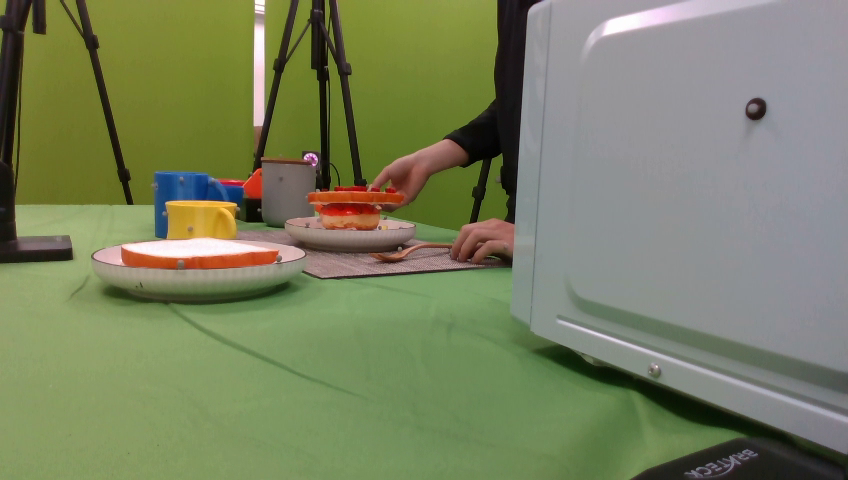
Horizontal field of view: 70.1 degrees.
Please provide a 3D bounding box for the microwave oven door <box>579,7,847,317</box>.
[{"bbox_3d":[0.295,-0.067,0.570,0.358,0.243,0.039,-3,9,-31],"label":"microwave oven door"}]

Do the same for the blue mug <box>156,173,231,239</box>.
[{"bbox_3d":[-0.381,-0.057,1.004,0.117,0.106,0.082,0,8,-12],"label":"blue mug"}]

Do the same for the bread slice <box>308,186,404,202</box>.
[{"bbox_3d":[-0.114,-0.071,0.952,0.134,0.018,0.107,-1,1,21],"label":"bread slice"}]

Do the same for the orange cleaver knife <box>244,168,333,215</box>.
[{"bbox_3d":[-0.300,-0.089,1.351,0.212,0.077,0.012,28,-9,-34],"label":"orange cleaver knife"}]

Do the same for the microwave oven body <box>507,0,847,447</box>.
[{"bbox_3d":[0.331,-0.042,0.425,0.444,0.260,0.324,-2,8,-31],"label":"microwave oven body"}]

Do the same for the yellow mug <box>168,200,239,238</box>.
[{"bbox_3d":[-0.319,-0.023,0.904,0.130,0.064,0.100,9,11,36],"label":"yellow mug"}]

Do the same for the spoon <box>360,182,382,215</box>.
[{"bbox_3d":[-0.101,-0.086,1.184,0.041,0.021,0.193,-15,25,4],"label":"spoon"}]

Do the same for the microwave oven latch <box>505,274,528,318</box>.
[{"bbox_3d":[0.100,0.041,0.471,0.079,0.029,0.030,-1,8,-28],"label":"microwave oven latch"}]

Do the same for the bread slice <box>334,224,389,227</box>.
[{"bbox_3d":[-0.103,-0.010,0.961,0.131,0.019,0.105,3,9,25],"label":"bread slice"}]

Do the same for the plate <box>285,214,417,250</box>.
[{"bbox_3d":[-0.116,-0.014,0.964,0.209,0.038,0.209,2,8,0],"label":"plate"}]

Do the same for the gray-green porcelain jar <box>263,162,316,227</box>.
[{"bbox_3d":[-0.271,-0.092,1.217,0.106,0.126,0.106,2,7,0],"label":"gray-green porcelain jar"}]

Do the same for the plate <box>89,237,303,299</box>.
[{"bbox_3d":[-0.233,0.029,0.637,0.208,0.039,0.207,2,7,0],"label":"plate"}]

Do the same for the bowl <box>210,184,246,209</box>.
[{"bbox_3d":[-0.422,-0.067,1.166,0.151,0.077,0.151,2,7,0],"label":"bowl"}]

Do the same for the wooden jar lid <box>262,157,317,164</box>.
[{"bbox_3d":[-0.269,-0.154,1.208,0.108,0.020,0.108,3,4,0],"label":"wooden jar lid"}]

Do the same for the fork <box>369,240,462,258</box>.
[{"bbox_3d":[-0.005,0.010,0.874,0.028,0.018,0.208,-2,5,37],"label":"fork"}]
